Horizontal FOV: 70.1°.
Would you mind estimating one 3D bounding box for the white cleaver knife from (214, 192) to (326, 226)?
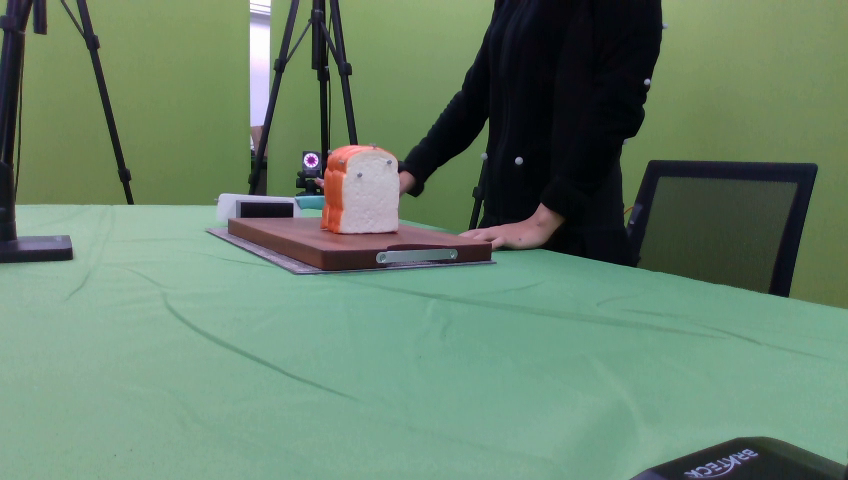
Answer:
[{"bbox_3d":[-0.278,-0.063,1.236,0.288,0.066,0.021,0,14,-25],"label":"white cleaver knife"}]

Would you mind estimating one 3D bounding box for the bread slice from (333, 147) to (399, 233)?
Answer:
[{"bbox_3d":[-0.084,-0.074,0.908,0.105,0.131,0.019,-4,15,-31],"label":"bread slice"}]

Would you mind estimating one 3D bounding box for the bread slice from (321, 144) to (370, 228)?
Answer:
[{"bbox_3d":[-0.106,-0.083,0.952,0.107,0.134,0.018,2,5,-32],"label":"bread slice"}]
